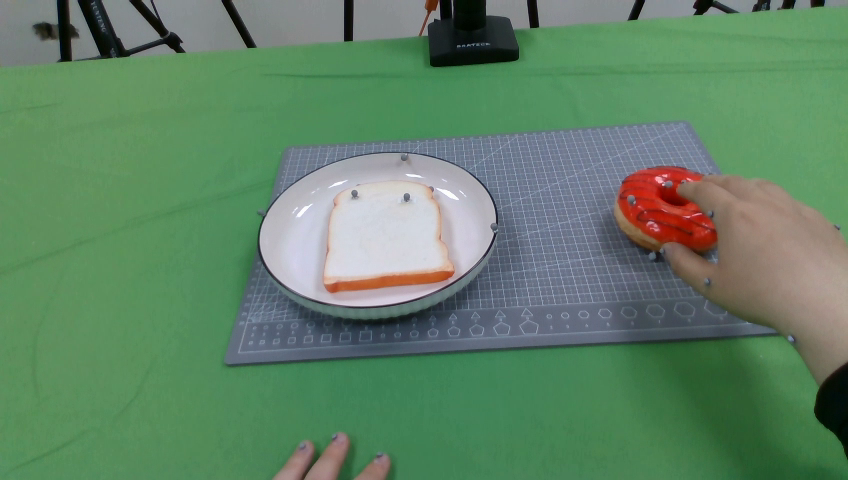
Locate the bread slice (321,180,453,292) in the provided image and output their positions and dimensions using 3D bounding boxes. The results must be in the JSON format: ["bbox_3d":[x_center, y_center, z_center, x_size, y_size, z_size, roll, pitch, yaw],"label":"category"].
[{"bbox_3d":[-0.038,-0.007,0.540,0.107,0.018,0.133,-7,42,-5],"label":"bread slice"}]

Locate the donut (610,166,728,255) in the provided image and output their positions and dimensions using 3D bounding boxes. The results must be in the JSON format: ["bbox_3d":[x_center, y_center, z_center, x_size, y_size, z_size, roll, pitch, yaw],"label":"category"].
[{"bbox_3d":[0.214,-0.026,0.531,0.099,0.049,0.098,-1,44,1],"label":"donut"}]

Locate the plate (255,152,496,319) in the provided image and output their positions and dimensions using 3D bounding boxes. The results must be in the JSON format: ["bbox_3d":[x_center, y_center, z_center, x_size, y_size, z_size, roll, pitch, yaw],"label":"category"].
[{"bbox_3d":[-0.040,-0.005,0.535,0.209,0.038,0.207,-2,42,2],"label":"plate"}]
